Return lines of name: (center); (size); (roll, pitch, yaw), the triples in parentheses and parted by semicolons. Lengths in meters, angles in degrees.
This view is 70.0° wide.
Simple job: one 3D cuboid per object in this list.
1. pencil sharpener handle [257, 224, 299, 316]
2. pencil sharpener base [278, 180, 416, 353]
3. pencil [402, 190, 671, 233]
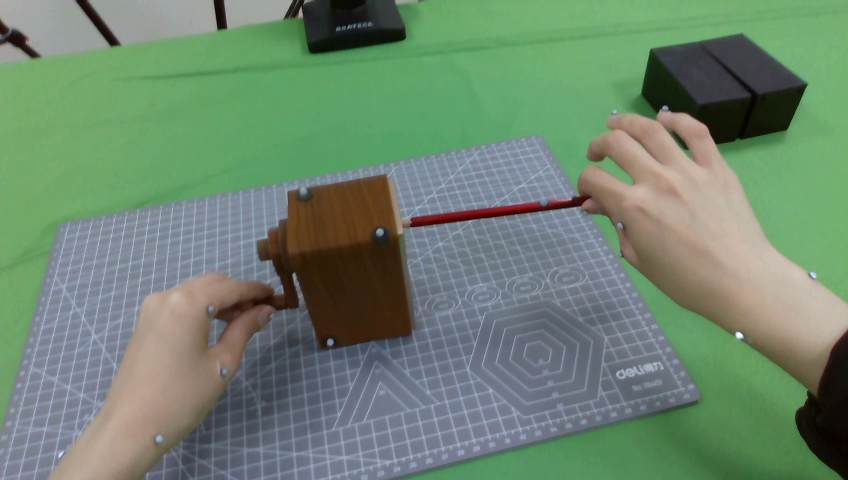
pencil sharpener handle: (-0.101, 0.023, 0.399); (0.031, 0.068, 0.035); (-10, 35, -4)
pencil sharpener base: (-0.050, 0.021, 0.414); (0.077, 0.108, 0.060); (-10, 46, -4)
pencil: (0.070, -0.018, 0.405); (0.194, 0.012, 0.012); (-7, 45, -4)
